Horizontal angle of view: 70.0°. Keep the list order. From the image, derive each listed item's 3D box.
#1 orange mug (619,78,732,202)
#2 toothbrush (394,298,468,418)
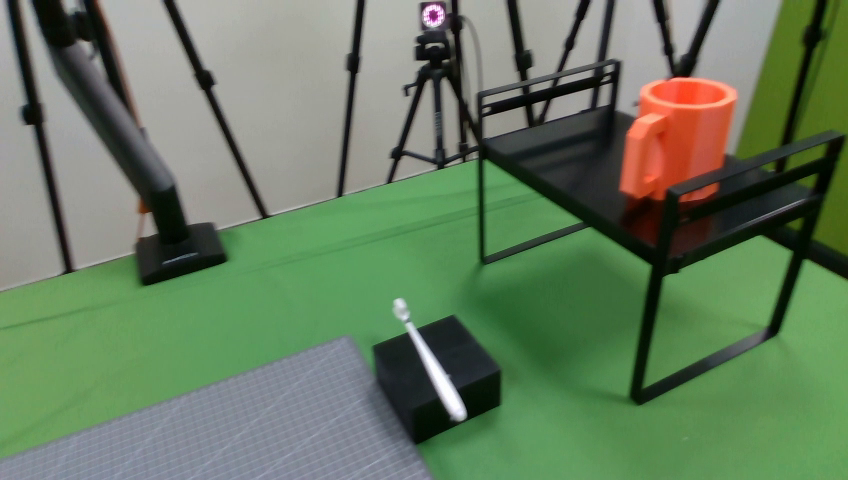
[{"bbox_3d":[0.236,-0.094,0.589,0.126,0.101,0.082,-23,36,-34],"label":"orange mug"},{"bbox_3d":[0.003,0.113,0.612,0.014,0.017,0.180,-12,33,-18],"label":"toothbrush"}]
